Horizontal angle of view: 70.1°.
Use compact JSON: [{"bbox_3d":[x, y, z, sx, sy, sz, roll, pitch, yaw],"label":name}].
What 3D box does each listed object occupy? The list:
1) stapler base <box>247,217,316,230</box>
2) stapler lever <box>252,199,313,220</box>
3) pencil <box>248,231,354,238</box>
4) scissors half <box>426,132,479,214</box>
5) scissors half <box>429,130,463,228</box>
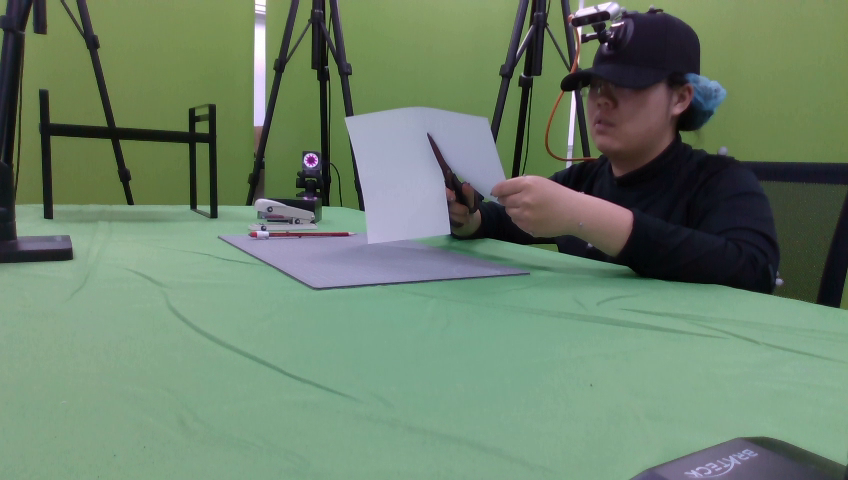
[{"bbox_3d":[-0.276,-0.033,1.172,0.131,0.024,0.041,0,10,-37],"label":"stapler base"},{"bbox_3d":[-0.273,-0.058,1.170,0.119,0.040,0.026,0,10,-37],"label":"stapler lever"},{"bbox_3d":[-0.206,-0.008,1.039,0.195,0.012,0.012,0,7,-36],"label":"pencil"},{"bbox_3d":[0.046,-0.106,0.968,0.012,0.040,0.176,25,-20,48],"label":"scissors half"},{"bbox_3d":[0.031,-0.093,0.961,0.040,0.175,0.013,-34,34,-31],"label":"scissors half"}]
